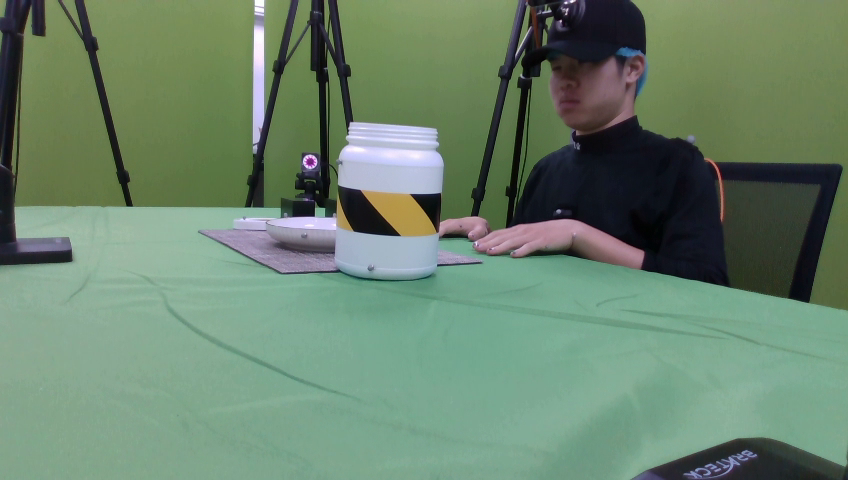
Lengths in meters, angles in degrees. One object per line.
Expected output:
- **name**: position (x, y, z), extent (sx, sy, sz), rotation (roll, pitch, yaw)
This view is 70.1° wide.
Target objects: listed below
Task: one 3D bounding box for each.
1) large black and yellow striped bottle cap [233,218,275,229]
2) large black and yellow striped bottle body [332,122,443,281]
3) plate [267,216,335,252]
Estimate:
- **large black and yellow striped bottle cap**: position (-0.311, -0.032, 1.172), extent (0.115, 0.019, 0.115), rotation (1, 4, 0)
- **large black and yellow striped bottle body**: position (-0.045, -0.051, 0.755), extent (0.131, 0.184, 0.130), rotation (4, 10, 0)
- **plate**: position (-0.144, -0.010, 0.967), extent (0.208, 0.039, 0.207), rotation (2, 7, 0)
